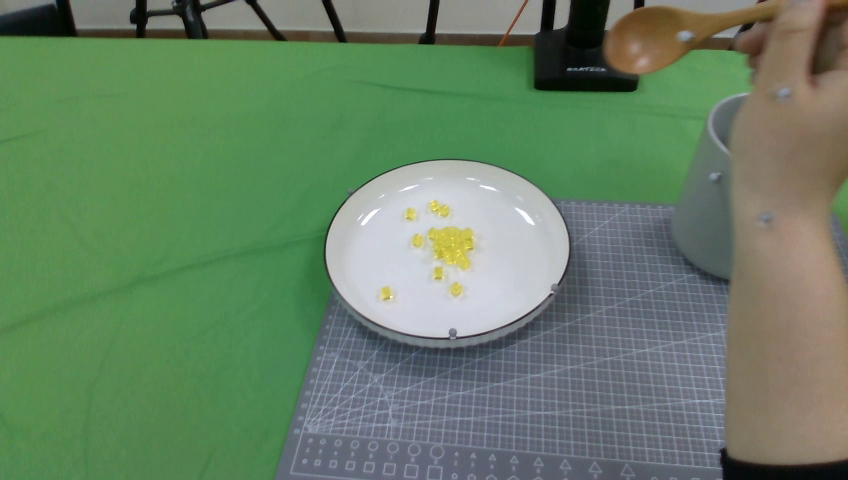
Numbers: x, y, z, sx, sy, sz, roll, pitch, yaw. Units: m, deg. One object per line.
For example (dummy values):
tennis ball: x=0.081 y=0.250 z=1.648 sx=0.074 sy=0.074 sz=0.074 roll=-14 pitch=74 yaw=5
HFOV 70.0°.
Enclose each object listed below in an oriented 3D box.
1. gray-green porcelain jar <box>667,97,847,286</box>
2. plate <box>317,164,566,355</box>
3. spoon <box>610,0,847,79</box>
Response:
gray-green porcelain jar: x=0.262 y=-0.034 z=0.493 sx=0.106 sy=0.128 sz=0.105 roll=-2 pitch=47 yaw=2
plate: x=0.014 y=0.015 z=0.522 sx=0.207 sy=0.039 sz=0.205 roll=-1 pitch=47 yaw=2
spoon: x=0.181 y=-0.117 z=0.321 sx=0.022 sy=0.041 sz=0.192 roll=-2 pitch=6 yaw=-31
